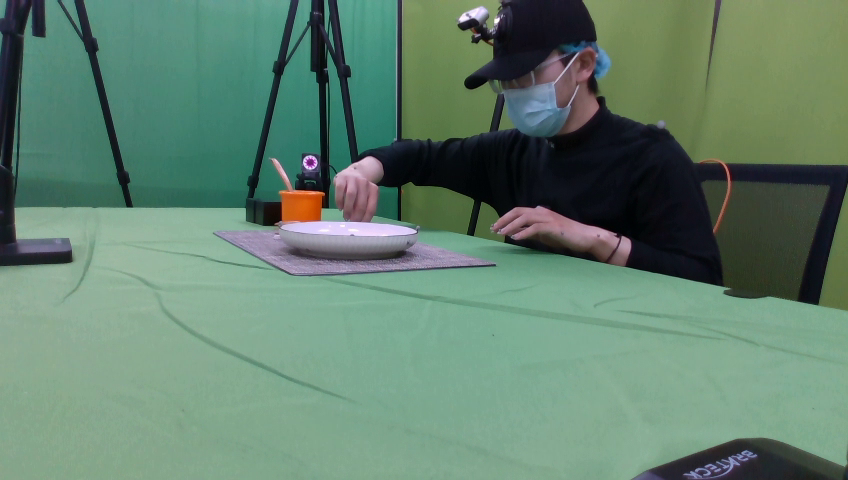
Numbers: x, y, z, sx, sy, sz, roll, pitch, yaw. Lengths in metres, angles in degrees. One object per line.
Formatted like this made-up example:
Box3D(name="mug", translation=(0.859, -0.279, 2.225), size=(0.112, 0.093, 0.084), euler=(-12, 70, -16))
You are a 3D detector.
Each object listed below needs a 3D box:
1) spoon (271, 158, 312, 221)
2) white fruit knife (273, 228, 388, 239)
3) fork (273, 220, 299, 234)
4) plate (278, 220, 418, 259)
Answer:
Box3D(name="spoon", translation=(-0.277, -0.102, 1.247), size=(0.042, 0.193, 0.021), euler=(-6, -33, -38))
Box3D(name="white fruit knife", translation=(-0.158, -0.009, 1.055), size=(0.208, 0.016, 0.027), euler=(-3, -21, -23))
Box3D(name="fork", translation=(-0.169, -0.020, 1.104), size=(0.208, 0.028, 0.018), euler=(1, -13, -27))
Box3D(name="plate", translation=(-0.114, -0.002, 0.914), size=(0.209, 0.038, 0.209), euler=(2, 7, 0))
